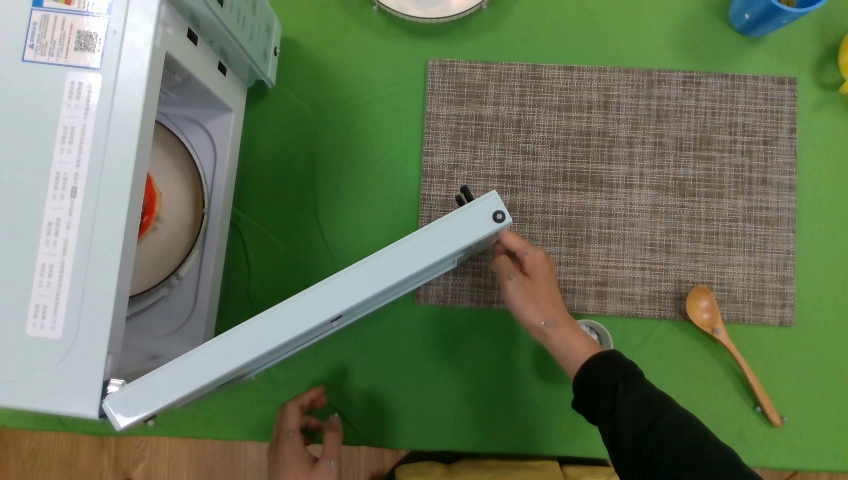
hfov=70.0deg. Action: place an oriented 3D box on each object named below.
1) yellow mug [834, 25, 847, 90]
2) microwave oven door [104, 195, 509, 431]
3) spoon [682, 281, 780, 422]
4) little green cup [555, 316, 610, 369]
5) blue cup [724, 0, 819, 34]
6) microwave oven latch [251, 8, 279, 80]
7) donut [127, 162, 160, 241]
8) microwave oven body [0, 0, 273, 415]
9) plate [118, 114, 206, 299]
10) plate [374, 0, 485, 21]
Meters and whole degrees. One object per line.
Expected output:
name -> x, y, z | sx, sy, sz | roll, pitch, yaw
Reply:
yellow mug -> 0.538, -0.219, 0.707 | 0.131, 0.064, 0.100 | -39, 86, -1
microwave oven door -> -0.089, 0.064, 0.592 | 0.356, 0.244, 0.039 | -29, 84, -1
spoon -> 0.359, 0.132, 0.705 | 0.041, 0.021, 0.193 | -33, 87, -17
little green cup -> 0.181, 0.118, 0.703 | 0.061, 0.039, 0.061 | 0, 83, 1
blue cup -> 0.398, -0.286, 0.697 | 0.092, 0.100, 0.092 | 0, 87, 1
microwave oven latch -> -0.191, -0.233, 0.716 | 0.030, 0.029, 0.079 | 8, 87, 1
donut -> -0.335, -0.044, 0.651 | 0.099, 0.048, 0.099 | 0, 89, 4
microwave oven body -> -0.360, -0.081, 0.612 | 0.326, 0.260, 0.441 | 6, 87, 1
plate -> -0.339, -0.039, 0.658 | 0.209, 0.038, 0.209 | 0, 87, -1
plate -> 0.008, -0.365, 0.741 | 0.208, 0.039, 0.207 | 0, 86, 1
